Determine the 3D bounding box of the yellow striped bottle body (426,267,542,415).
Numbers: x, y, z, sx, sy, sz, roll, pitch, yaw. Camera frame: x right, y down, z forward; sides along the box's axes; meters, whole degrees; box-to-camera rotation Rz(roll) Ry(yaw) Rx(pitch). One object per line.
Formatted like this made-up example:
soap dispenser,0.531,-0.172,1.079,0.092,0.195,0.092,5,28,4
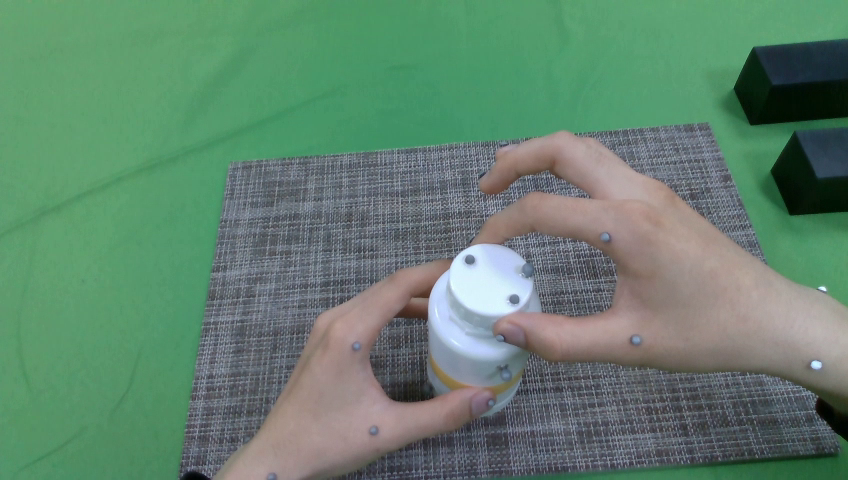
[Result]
yellow striped bottle body,0.033,0.055,0.357,0.063,0.121,0.062,0,57,0

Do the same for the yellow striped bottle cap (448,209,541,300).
yellow striped bottle cap,0.034,0.007,0.294,0.044,0.019,0.044,-3,53,5
